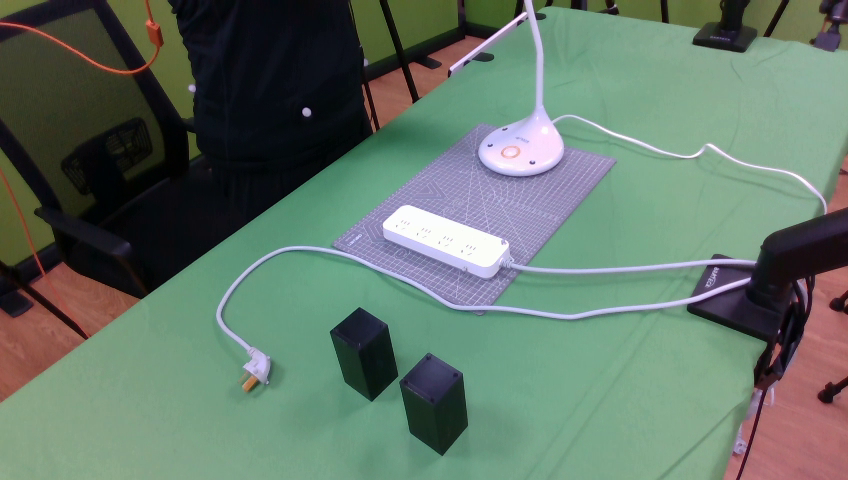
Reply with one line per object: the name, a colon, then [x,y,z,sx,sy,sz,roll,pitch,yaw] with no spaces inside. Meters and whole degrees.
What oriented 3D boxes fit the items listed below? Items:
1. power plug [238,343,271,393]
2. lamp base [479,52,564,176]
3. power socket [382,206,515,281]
power plug: [-0.230,0.172,0.801,0.072,0.035,0.053,8,50,49]
lamp base: [0.181,-0.235,1.094,0.159,0.181,0.179,18,44,27]
power socket: [0.032,0.002,0.950,0.225,0.033,0.072,21,49,29]
